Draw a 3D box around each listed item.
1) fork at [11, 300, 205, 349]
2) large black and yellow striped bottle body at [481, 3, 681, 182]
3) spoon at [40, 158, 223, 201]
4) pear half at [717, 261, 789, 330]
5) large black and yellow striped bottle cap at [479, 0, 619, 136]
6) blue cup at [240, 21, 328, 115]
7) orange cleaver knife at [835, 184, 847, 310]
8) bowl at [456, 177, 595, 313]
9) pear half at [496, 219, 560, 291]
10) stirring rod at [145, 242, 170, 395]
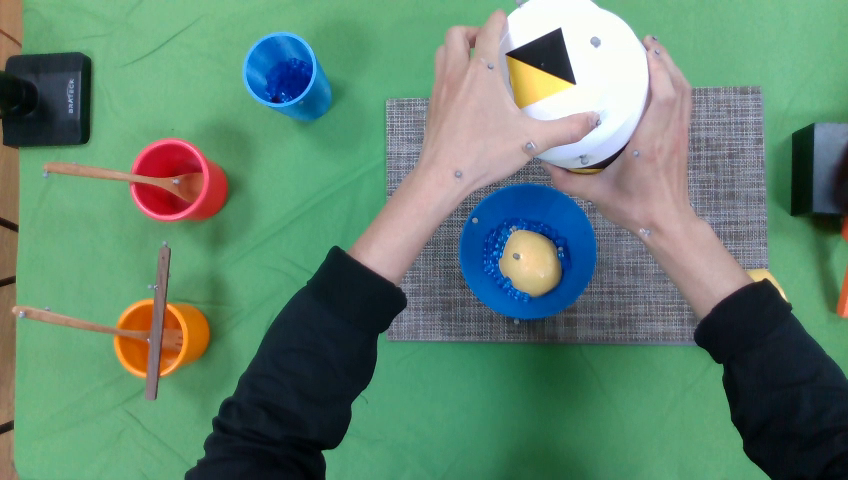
[{"bbox_3d":[-0.358,0.098,0.702,0.209,0.018,0.028,20,99,-38],"label":"fork"},{"bbox_3d":[0.144,-0.131,0.548,0.130,0.185,0.130,-5,81,36],"label":"large black and yellow striped bottle body"},{"bbox_3d":[-0.336,-0.077,0.712,0.195,0.021,0.041,7,89,-38],"label":"spoon"},{"bbox_3d":[0.355,0.063,0.655,0.056,0.110,0.076,-20,81,5],"label":"pear half"},{"bbox_3d":[0.096,-0.141,0.481,0.114,0.019,0.114,-4,84,38],"label":"large black and yellow striped bottle cap"},{"bbox_3d":[-0.158,-0.192,0.722,0.092,0.100,0.092,0,87,8],"label":"blue cup"},{"bbox_3d":[0.476,-0.024,0.666,0.012,0.077,0.213,1,116,11],"label":"orange cleaver knife"},{"bbox_3d":[0.113,0.008,0.695,0.151,0.077,0.151,0,87,6],"label":"bowl"},{"bbox_3d":[0.117,0.014,0.689,0.070,0.031,0.087,-26,81,1],"label":"pear half"},{"bbox_3d":[-0.306,0.089,0.695,0.014,0.006,0.176,4,88,4],"label":"stirring rod"}]
